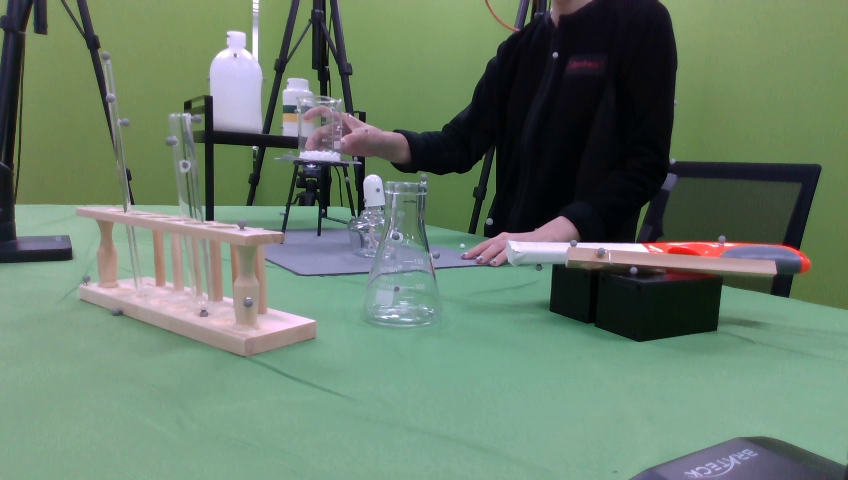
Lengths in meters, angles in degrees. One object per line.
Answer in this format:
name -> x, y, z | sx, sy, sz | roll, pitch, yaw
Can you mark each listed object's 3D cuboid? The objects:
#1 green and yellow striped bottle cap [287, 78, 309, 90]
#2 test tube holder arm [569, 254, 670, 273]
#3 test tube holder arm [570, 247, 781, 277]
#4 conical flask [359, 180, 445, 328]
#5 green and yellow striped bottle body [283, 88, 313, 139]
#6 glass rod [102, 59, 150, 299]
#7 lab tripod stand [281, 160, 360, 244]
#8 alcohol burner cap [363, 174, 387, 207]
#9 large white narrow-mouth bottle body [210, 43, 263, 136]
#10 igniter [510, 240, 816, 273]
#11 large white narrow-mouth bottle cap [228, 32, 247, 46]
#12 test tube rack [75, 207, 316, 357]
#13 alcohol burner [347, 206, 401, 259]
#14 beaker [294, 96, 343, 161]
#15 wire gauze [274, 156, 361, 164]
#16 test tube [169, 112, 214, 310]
green and yellow striped bottle cap -> -0.265, -0.326, 1.268 | 0.045, 0.020, 0.045 | 4, 6, 0
test tube holder arm -> 0.172, 0.019, 0.532 | 0.088, 0.015, 0.010 | 3, -23, 4
test tube holder arm -> 0.217, 0.019, 0.524 | 0.178, 0.015, 0.013 | 3, -23, 3
conical flask -> -0.017, 0.010, 0.522 | 0.075, 0.122, 0.075 | 2, 7, 0
green and yellow striped bottle body -> -0.265, -0.275, 1.275 | 0.063, 0.119, 0.063 | 2, 7, 0
glass rod -> -0.244, -0.045, 0.496 | 0.008, 0.199, 0.008 | -3, 12, 1
lab tripod stand -> -0.170, -0.063, 0.983 | 0.148, 0.131, 0.148 | 1, 6, 0
alcohol burner cap -> -0.072, -0.070, 0.861 | 0.034, 0.048, 0.034 | -7, 6, 1
large white narrow-mouth bottle body -> -0.369, -0.306, 1.194 | 0.102, 0.194, 0.102 | 3, 8, 0
igniter -> 0.220, 0.015, 0.565 | 0.277, 0.025, 0.057 | 2, 16, 0
large white narrow-mouth bottle cap -> -0.364, -0.391, 1.180 | 0.038, 0.024, 0.037 | 3, 8, 0
test tube rack -> -0.196, 0.023, 0.499 | 0.241, 0.085, 0.067 | 8, 9, 36
alcohol burner -> -0.071, -0.034, 0.867 | 0.078, 0.119, 0.078 | 0, 7, 0
beaker -> -0.164, -0.176, 0.965 | 0.083, 0.100, 0.074 | 6, 10, 35
wire gauze -> -0.174, -0.129, 0.978 | 0.125, 0.011, 0.121 | -2, 7, -19
test tube -> -0.175, -0.020, 0.455 | 0.017, 0.150, 0.017 | -3, 9, 1
